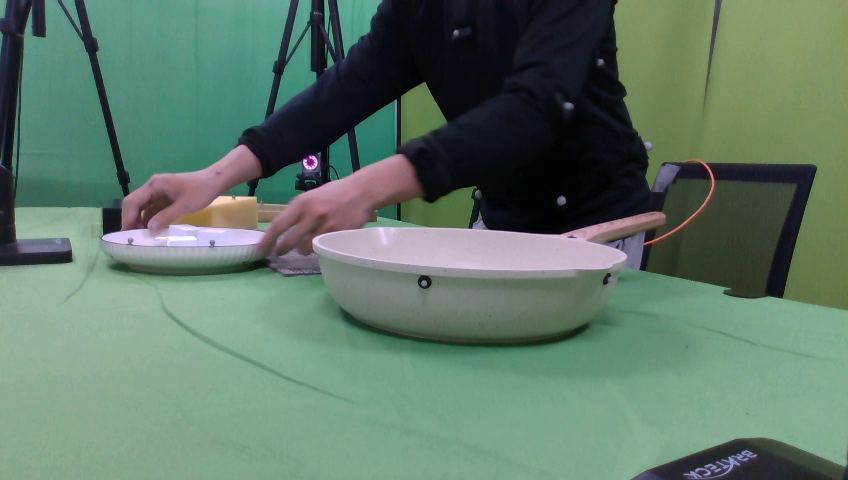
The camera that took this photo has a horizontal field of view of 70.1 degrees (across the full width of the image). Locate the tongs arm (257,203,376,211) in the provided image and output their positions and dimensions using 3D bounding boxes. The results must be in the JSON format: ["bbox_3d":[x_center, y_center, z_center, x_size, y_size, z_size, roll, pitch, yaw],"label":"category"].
[{"bbox_3d":[-0.306,-0.070,1.429,0.386,0.026,0.050,2,8,-15],"label":"tongs arm"}]

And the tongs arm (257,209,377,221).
[{"bbox_3d":[-0.280,-0.056,1.354,0.389,0.028,0.028,-1,5,-28],"label":"tongs arm"}]

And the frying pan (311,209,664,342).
[{"bbox_3d":[0.120,0.011,0.643,0.490,0.102,0.305,-14,16,-37],"label":"frying pan"}]

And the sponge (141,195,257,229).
[{"bbox_3d":[-0.380,-0.040,1.047,0.118,0.061,0.207,1,9,3],"label":"sponge"}]

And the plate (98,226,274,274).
[{"bbox_3d":[-0.300,0.012,0.778,0.208,0.039,0.207,2,7,0],"label":"plate"}]
